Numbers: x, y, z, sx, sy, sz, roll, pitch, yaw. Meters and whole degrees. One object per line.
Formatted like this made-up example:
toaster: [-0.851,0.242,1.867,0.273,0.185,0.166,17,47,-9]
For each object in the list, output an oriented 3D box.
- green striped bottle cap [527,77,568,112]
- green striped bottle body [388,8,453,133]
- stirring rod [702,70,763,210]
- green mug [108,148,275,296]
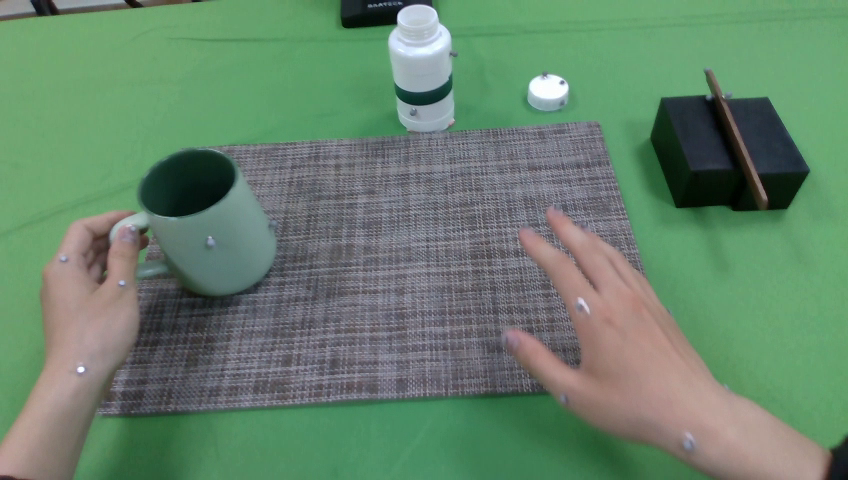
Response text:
green striped bottle cap: [0.136,-0.161,0.670,0.044,0.020,0.044,-1,48,2]
green striped bottle body: [-0.003,-0.175,0.626,0.063,0.120,0.062,-2,51,3]
stirring rod: [0.275,-0.096,0.545,0.006,0.014,0.174,-4,51,7]
green mug: [-0.197,-0.006,0.511,0.125,0.106,0.091,-25,54,-15]
